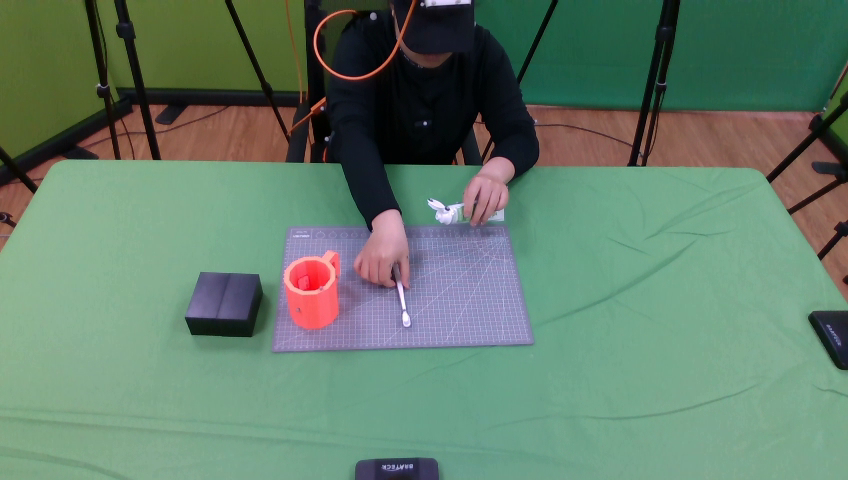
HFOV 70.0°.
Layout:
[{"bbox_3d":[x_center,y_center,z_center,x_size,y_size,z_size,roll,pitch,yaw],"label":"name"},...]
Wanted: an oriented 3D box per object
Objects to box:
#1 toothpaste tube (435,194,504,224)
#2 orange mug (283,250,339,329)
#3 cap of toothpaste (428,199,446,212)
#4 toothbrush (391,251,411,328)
[{"bbox_3d":[0.092,-0.057,1.176,0.165,0.055,0.034,-7,17,-33],"label":"toothpaste tube"},{"bbox_3d":[-0.186,0.079,1.052,0.083,0.101,0.126,20,52,15],"label":"orange mug"},{"bbox_3d":[0.022,-0.063,1.117,0.037,0.011,0.037,25,22,-11],"label":"cap of toothpaste"},{"bbox_3d":[-0.045,0.085,1.112,0.014,0.017,0.180,-15,46,2],"label":"toothbrush"}]
